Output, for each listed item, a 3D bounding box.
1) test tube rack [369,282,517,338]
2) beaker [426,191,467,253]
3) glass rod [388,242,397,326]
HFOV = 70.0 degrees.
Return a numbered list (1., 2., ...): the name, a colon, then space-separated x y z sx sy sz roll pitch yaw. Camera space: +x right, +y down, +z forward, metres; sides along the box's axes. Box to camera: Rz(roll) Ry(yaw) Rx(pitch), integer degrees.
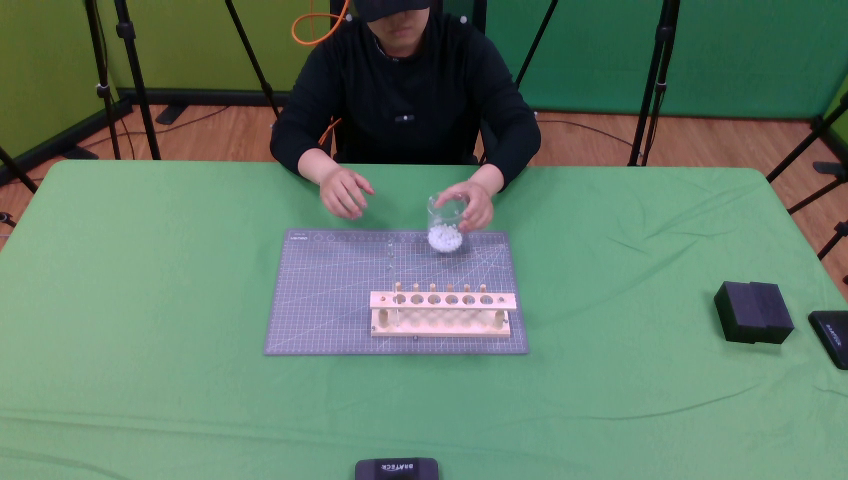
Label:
1. test tube rack: 0.030 0.116 1.041 0.242 0.085 0.066 1 46 -3
2. beaker: 0.043 -0.032 1.139 0.084 0.101 0.073 -31 55 -27
3. glass rod: -0.051 0.076 0.981 0.008 0.201 0.008 0 44 1
